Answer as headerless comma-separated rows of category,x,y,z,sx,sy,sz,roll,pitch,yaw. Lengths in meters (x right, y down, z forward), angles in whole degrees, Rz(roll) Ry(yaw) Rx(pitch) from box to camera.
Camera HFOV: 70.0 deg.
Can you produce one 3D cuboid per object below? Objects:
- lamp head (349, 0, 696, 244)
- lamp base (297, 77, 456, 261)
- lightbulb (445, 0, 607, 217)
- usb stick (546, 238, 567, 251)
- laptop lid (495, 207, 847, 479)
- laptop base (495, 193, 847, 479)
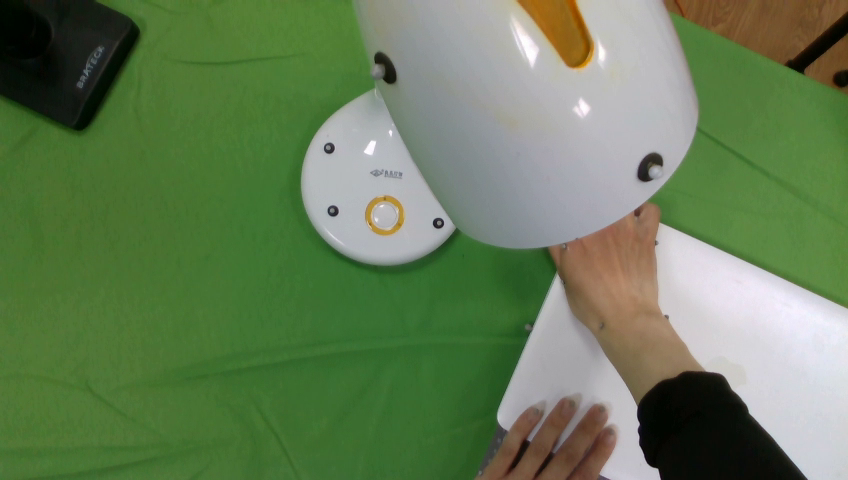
lamp head,0.025,-0.077,0.216,0.112,0.111,0.124,-46,128,-6
lamp base,-0.038,-0.082,0.498,0.161,0.181,0.178,-6,81,-2
lightbulb,0.036,-0.054,0.234,0.059,0.109,0.059,-15,47,17
usb stick,0.116,-0.016,0.572,0.021,0.027,0.059,-41,88,-13
laptop lid,0.268,0.130,0.555,0.356,0.013,0.241,26,85,2
laptop base,0.269,0.129,0.567,0.354,0.023,0.235,24,86,1
